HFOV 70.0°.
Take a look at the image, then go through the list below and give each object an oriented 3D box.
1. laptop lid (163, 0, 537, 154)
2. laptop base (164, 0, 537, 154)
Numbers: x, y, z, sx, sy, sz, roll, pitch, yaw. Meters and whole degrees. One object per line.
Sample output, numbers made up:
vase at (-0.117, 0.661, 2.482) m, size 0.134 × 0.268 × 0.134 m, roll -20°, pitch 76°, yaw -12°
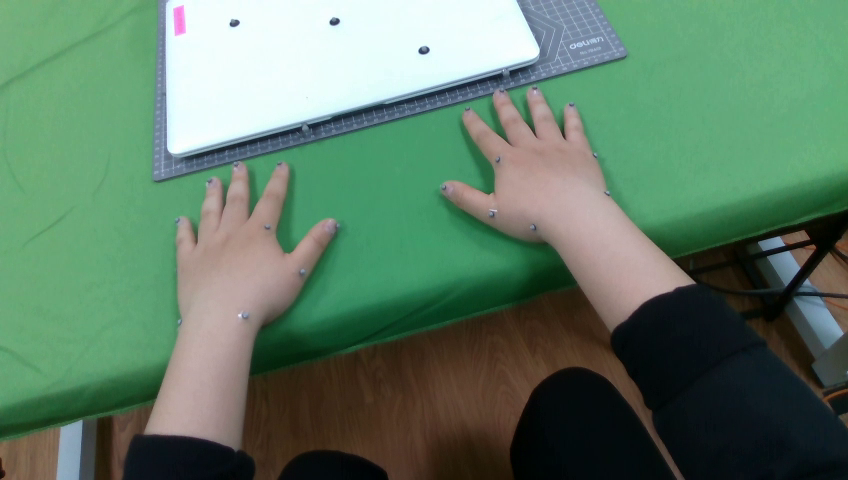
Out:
laptop lid at (-0.089, -0.218, 0.605) m, size 0.357 × 0.013 × 0.239 m, roll -14°, pitch 60°, yaw 0°
laptop base at (-0.088, -0.213, 0.616) m, size 0.354 × 0.023 × 0.233 m, roll -15°, pitch 61°, yaw -1°
